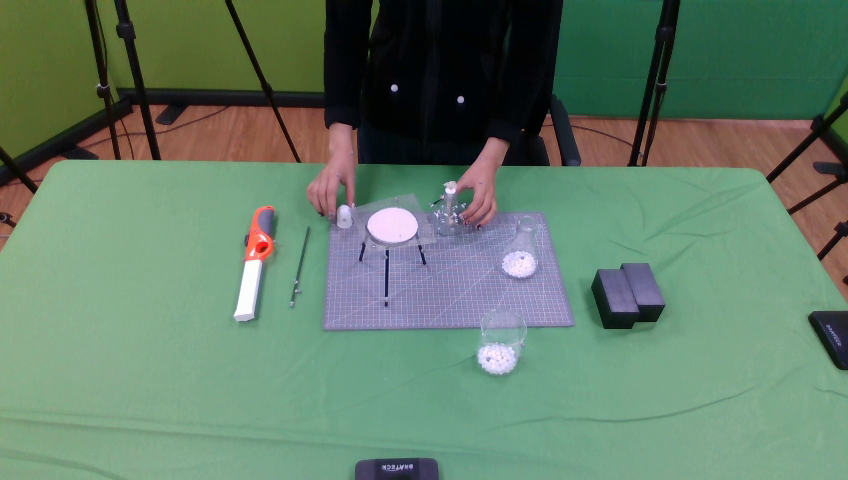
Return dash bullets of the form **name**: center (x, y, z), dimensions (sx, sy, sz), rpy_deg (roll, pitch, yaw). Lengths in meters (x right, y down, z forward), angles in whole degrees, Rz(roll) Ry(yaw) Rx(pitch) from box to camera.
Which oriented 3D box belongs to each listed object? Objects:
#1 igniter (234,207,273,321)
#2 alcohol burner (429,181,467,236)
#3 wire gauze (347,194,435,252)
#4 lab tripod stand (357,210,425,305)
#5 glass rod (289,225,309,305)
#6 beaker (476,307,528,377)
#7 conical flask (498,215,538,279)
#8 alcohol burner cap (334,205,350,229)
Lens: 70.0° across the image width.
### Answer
- **igniter**: center (-0.318, 0.035, 1.137), dimensions (0.057, 0.025, 0.274), rpy_deg (-8, 46, 3)
- **alcohol burner**: center (0.048, -0.066, 1.201), dimensions (0.078, 0.120, 0.077), rpy_deg (1, 46, -1)
- **wire gauze**: center (-0.058, -0.029, 1.048), dimensions (0.125, 0.011, 0.120), rpy_deg (-12, 48, -16)
- **lab tripod stand**: center (-0.060, 0.020, 1.094), dimensions (0.148, 0.132, 0.147), rpy_deg (3, 44, -2)
- **glass rod**: center (-0.235, 0.043, 1.149), dimensions (0.008, 0.008, 0.198), rpy_deg (3, 46, -1)
- **beaker**: center (0.122, 0.171, 0.991), dimensions (0.084, 0.101, 0.073), rpy_deg (-34, 56, -31)
- **conical flask**: center (0.183, 0.010, 1.132), dimensions (0.075, 0.122, 0.075), rpy_deg (2, 46, -2)
- **alcohol burner cap**: center (-0.164, -0.049, 1.216), dimensions (0.034, 0.048, 0.033), rpy_deg (4, 46, -4)
